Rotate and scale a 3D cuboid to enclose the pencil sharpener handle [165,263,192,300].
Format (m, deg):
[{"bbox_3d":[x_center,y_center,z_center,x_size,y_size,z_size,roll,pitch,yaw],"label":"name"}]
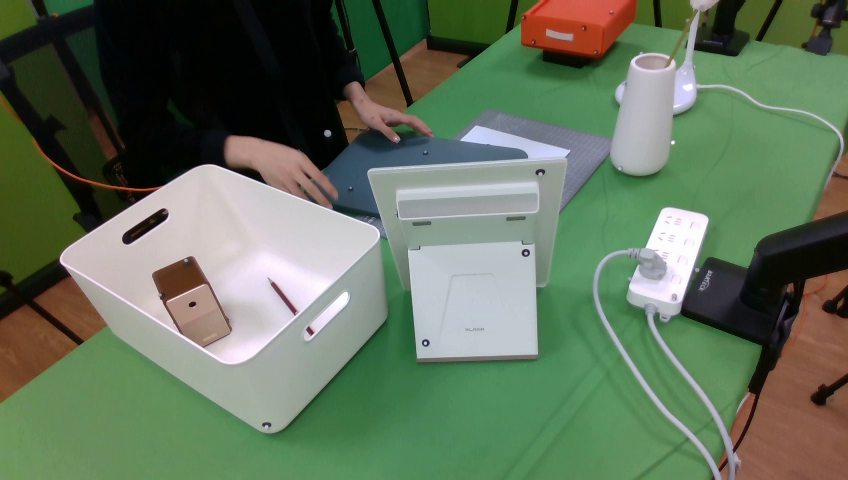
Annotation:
[{"bbox_3d":[-0.353,0.054,0.867,0.036,0.068,0.030,-18,40,-28],"label":"pencil sharpener handle"}]

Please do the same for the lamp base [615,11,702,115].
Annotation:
[{"bbox_3d":[0.484,-0.364,1.211,0.180,0.181,0.159,-15,41,-14],"label":"lamp base"}]

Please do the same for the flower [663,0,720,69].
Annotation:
[{"bbox_3d":[0.379,-0.261,0.965,0.044,0.362,0.038,20,52,5],"label":"flower"}]

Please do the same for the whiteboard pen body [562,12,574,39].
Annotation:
[{"bbox_3d":[0.341,-0.506,1.430,0.017,0.017,0.140,-2,42,6],"label":"whiteboard pen body"}]

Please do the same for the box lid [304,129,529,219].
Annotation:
[{"bbox_3d":[-0.010,-0.117,1.122,0.369,0.015,0.263,11,44,22],"label":"box lid"}]

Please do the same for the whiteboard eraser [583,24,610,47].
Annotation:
[{"bbox_3d":[0.407,-0.479,1.423,0.055,0.042,0.113,-3,9,20],"label":"whiteboard eraser"}]

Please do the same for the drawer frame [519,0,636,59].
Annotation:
[{"bbox_3d":[0.362,-0.518,1.423,0.200,0.083,0.214,19,48,29],"label":"drawer frame"}]

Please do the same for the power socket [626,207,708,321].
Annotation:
[{"bbox_3d":[0.359,0.025,0.886,0.072,0.033,0.227,16,46,26],"label":"power socket"}]

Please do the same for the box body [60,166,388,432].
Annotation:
[{"bbox_3d":[-0.256,0.065,0.827,0.361,0.161,0.255,20,48,29],"label":"box body"}]

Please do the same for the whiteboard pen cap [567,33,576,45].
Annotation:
[{"bbox_3d":[0.339,-0.463,1.390,0.018,0.018,0.033,-2,44,6],"label":"whiteboard pen cap"}]

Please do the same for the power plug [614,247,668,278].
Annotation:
[{"bbox_3d":[0.306,0.031,0.851,0.072,0.053,0.035,24,49,33],"label":"power plug"}]

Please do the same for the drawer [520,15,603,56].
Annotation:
[{"bbox_3d":[0.359,-0.517,1.416,0.193,0.073,0.212,20,47,29],"label":"drawer"}]

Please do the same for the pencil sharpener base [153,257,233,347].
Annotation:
[{"bbox_3d":[-0.321,0.088,0.843,0.061,0.107,0.076,-27,44,-20],"label":"pencil sharpener base"}]

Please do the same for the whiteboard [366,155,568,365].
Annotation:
[{"bbox_3d":[0.059,0.050,0.738,0.217,0.307,0.143,-2,60,5],"label":"whiteboard"}]

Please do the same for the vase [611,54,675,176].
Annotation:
[{"bbox_3d":[0.377,-0.209,1.031,0.098,0.201,0.097,-3,40,3],"label":"vase"}]

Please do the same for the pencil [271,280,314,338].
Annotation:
[{"bbox_3d":[-0.187,0.106,0.880,0.012,0.012,0.192,-27,41,-22],"label":"pencil"}]
